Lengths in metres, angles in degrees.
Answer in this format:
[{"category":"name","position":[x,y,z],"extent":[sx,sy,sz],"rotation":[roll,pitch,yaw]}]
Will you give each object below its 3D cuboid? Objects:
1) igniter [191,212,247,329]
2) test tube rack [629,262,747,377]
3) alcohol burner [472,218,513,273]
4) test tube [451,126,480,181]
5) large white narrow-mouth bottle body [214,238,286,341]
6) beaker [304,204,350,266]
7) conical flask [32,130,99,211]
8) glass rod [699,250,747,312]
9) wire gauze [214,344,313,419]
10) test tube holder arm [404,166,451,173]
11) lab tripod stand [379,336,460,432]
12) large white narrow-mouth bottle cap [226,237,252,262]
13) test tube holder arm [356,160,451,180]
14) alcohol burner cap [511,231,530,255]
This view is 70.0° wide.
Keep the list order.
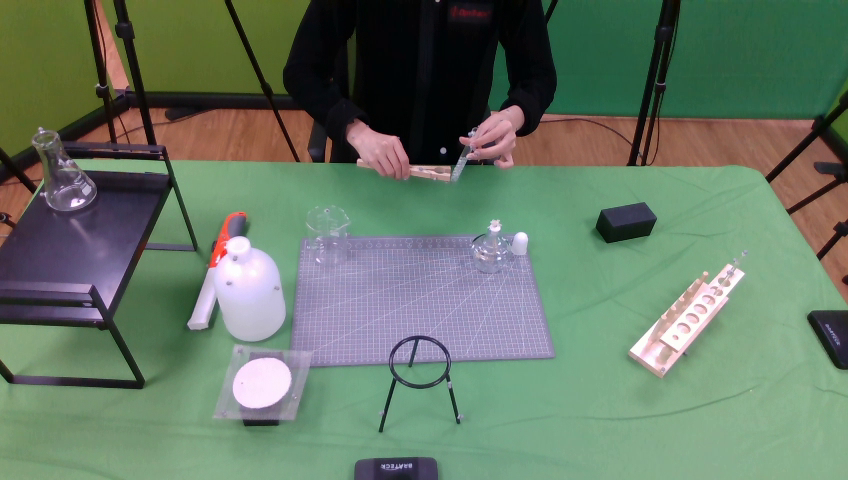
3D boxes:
[{"category":"igniter","position":[-0.376,0.047,1.121],"extent":[0.057,0.025,0.275],"rotation":[-4,46,6]},{"category":"test tube rack","position":[0.464,0.126,1.061],"extent":[0.242,0.085,0.066],"rotation":[-34,56,-31]},{"category":"alcohol burner","position":[0.128,0.005,1.132],"extent":[0.078,0.120,0.077],"rotation":[0,47,0]},{"category":"test tube","position":[0.073,-0.151,1.084],"extent":[0.017,0.150,0.017],"rotation":[6,60,-11]},{"category":"large white narrow-mouth bottle body","position":[-0.285,0.073,0.986],"extent":[0.102,0.195,0.101],"rotation":[2,46,-2]},{"category":"beaker","position":[-0.178,-0.006,1.132],"extent":[0.084,0.101,0.073],"rotation":[4,46,-1]},{"category":"conical flask","position":[-0.565,-0.111,0.944],"extent":[0.075,0.122,0.075],"rotation":[2,46,-2]},{"category":"glass rod","position":[0.500,0.075,1.021],"extent":[0.008,0.201,0.008],"rotation":[0,55,1]},{"category":"wire gauze","position":[-0.241,0.213,0.915],"extent":[0.121,0.011,0.124],"rotation":[5,46,1]},{"category":"test tube holder arm","position":[0.006,-0.131,1.136],"extent":[0.088,0.015,0.010],"rotation":[0,41,-7]},{"category":"lab tripod stand","position":[-0.010,0.214,0.911],"extent":[0.148,0.132,0.147],"rotation":[1,45,-1]},{"category":"large white narrow-mouth bottle cap","position":[-0.282,0.014,0.923],"extent":[0.038,0.024,0.037],"rotation":[2,46,-2]},{"category":"test tube holder arm","position":[-0.039,-0.131,1.131],"extent":[0.178,0.015,0.013],"rotation":[7,39,2]},{"category":"alcohol burner cap","position":[0.191,0.003,1.187],"extent":[0.034,0.048,0.033],"rotation":[3,44,-2]}]
